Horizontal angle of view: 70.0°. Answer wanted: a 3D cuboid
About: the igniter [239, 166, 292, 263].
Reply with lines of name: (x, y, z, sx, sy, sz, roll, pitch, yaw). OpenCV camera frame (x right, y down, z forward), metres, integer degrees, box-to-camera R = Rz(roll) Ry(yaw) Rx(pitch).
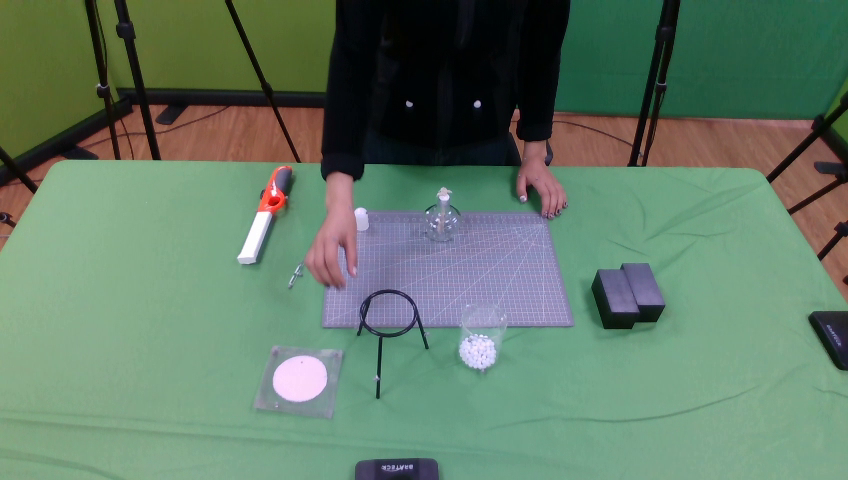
igniter: (-0.318, -0.060, 1.229, 0.057, 0.025, 0.275, -2, 45, 10)

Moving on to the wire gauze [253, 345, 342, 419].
wire gauze: (-0.200, 0.224, 0.978, 0.125, 0.011, 0.121, 7, 47, 0)

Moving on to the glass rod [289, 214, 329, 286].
glass rod: (-0.221, 0.014, 1.179, 0.008, 0.008, 0.199, 12, 46, 8)

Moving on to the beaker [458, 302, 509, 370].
beaker: (0.092, 0.159, 0.998, 0.083, 0.101, 0.074, 35, 53, 28)

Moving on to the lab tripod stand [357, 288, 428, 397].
lab tripod stand: (-0.058, 0.156, 0.967, 0.148, 0.132, 0.147, 3, 47, -3)

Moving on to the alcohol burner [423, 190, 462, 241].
alcohol burner: (0.036, -0.055, 1.186, 0.078, 0.120, 0.077, 2, 48, -1)

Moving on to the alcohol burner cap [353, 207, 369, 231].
alcohol burner cap: (-0.127, -0.045, 1.215, 0.034, 0.048, 0.033, 2, 47, -2)
